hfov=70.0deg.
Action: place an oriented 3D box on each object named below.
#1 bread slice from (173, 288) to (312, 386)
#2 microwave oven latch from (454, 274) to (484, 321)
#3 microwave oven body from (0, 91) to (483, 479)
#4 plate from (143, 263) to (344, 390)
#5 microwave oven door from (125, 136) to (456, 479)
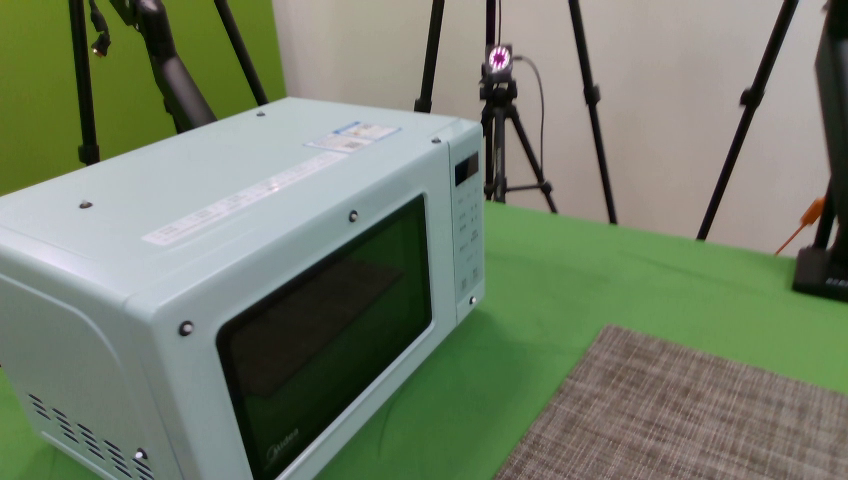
[{"bbox_3d":[-0.192,0.095,0.658,0.104,0.019,0.131,21,40,37],"label":"bread slice"},{"bbox_3d":[0.048,0.070,0.763,0.030,0.030,0.079,15,34,30],"label":"microwave oven latch"},{"bbox_3d":[-0.178,0.030,0.660,0.323,0.262,0.441,14,33,29],"label":"microwave oven body"},{"bbox_3d":[-0.189,0.092,0.654,0.209,0.038,0.207,-4,28,2],"label":"plate"},{"bbox_3d":[-0.077,0.072,0.555,0.039,0.245,0.355,13,32,30],"label":"microwave oven door"}]
